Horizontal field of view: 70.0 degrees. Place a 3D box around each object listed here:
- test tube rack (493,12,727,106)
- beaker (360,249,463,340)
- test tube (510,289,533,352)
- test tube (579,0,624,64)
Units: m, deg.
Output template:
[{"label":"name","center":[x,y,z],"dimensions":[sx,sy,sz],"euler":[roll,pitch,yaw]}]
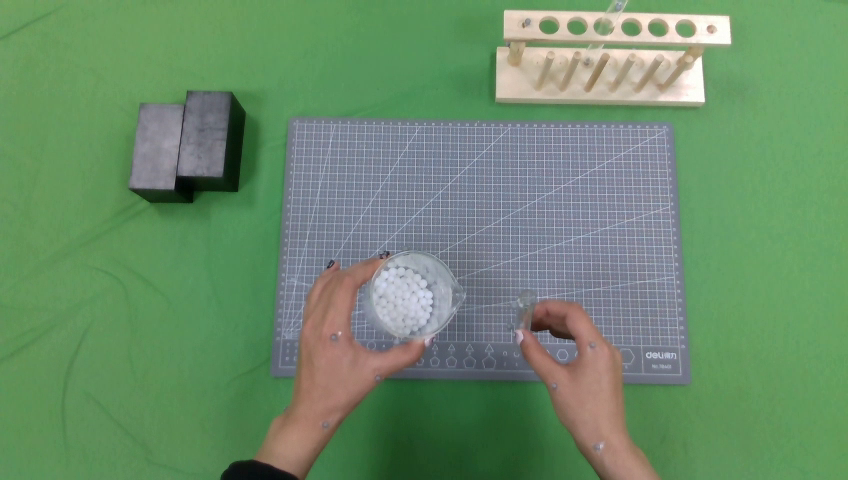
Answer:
[{"label":"test tube rack","center":[0.203,-0.204,0.687],"dimensions":[0.242,0.085,0.066],"euler":[1,77,1]},{"label":"beaker","center":[-0.016,0.051,0.540],"dimensions":[0.084,0.100,0.073],"euler":[0,81,-12]},{"label":"test tube","center":[0.090,0.079,0.570],"dimensions":[0.017,0.152,0.017],"euler":[-2,64,5]},{"label":"test tube","center":[0.192,-0.232,0.643],"dimensions":[0.017,0.151,0.017],"euler":[1,74,-2]}]
